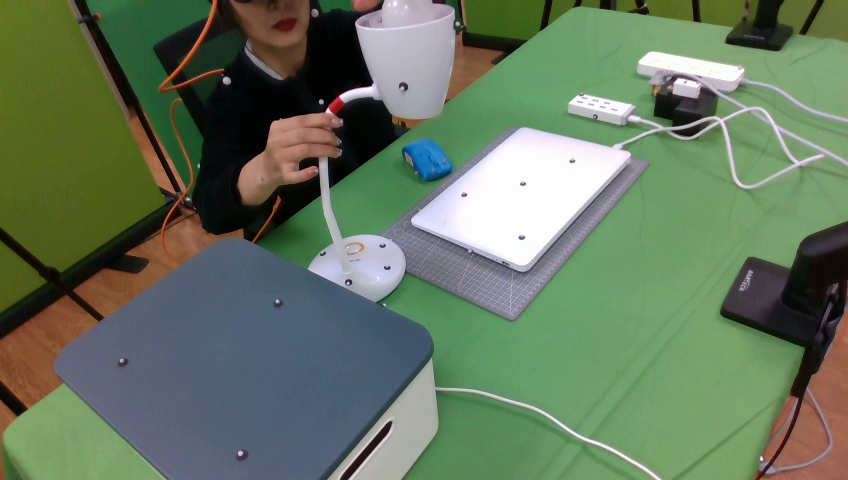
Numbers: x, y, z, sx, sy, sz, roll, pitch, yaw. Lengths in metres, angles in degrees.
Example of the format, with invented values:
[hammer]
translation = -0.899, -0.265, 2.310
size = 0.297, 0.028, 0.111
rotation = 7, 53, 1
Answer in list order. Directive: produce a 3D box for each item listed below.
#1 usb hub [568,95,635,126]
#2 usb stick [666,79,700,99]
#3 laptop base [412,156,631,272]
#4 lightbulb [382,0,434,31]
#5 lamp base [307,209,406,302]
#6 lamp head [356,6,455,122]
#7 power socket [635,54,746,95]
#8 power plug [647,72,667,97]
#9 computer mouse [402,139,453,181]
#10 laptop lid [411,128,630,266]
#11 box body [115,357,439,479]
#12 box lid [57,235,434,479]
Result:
[usb hub]
translation = 0.360, -0.264, 1.228
size = 0.124, 0.025, 0.049
rotation = 24, 49, 34
[usb stick]
translation = 0.492, -0.288, 1.152
size = 0.058, 0.027, 0.021
rotation = 20, 50, 34
[laptop base]
translation = 0.176, -0.084, 1.055
size = 0.233, 0.023, 0.355
rotation = 21, 48, 36
[lightbulb]
translation = -0.015, -0.229, 0.691
size = 0.059, 0.108, 0.059
rotation = -5, 25, 3
[lamp base]
translation = -0.116, -0.003, 0.889
size = 0.161, 0.181, 0.178
rotation = -15, 43, -5
[lamp head]
translation = -0.019, -0.199, 0.701
size = 0.112, 0.123, 0.112
rotation = -1, 33, 1
[power socket]
translation = 0.564, -0.357, 1.293
size = 0.225, 0.033, 0.072
rotation = 24, 51, 33
[power plug]
translation = 0.493, -0.321, 1.261
size = 0.073, 0.052, 0.035
rotation = 1, 20, -41
[computer mouse]
translation = 0.005, -0.159, 1.165
size = 0.063, 0.041, 0.116
rotation = -21, 45, -17
[laptop lid]
translation = 0.172, -0.093, 1.049
size = 0.239, 0.013, 0.358
rotation = 24, 50, 36
[box body]
translation = -0.189, 0.178, 0.702
size = 0.361, 0.161, 0.255
rotation = 22, 49, 32
[box lid]
translation = -0.198, 0.123, 0.653
size = 0.368, 0.015, 0.264
rotation = 22, 49, 32
